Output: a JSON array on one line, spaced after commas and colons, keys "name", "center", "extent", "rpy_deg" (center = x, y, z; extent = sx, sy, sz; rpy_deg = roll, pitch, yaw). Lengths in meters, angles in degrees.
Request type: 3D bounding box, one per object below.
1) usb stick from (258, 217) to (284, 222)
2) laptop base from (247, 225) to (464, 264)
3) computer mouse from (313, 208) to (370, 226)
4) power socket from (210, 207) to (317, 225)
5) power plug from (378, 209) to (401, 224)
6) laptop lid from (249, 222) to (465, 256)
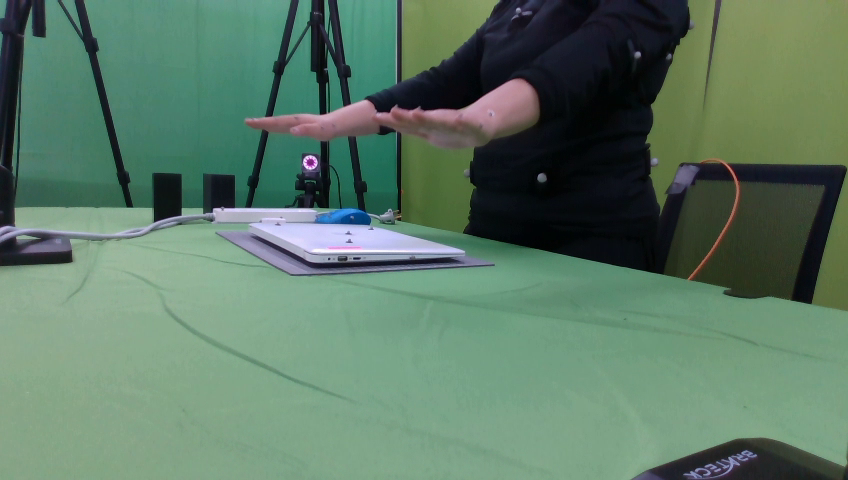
[{"name": "usb stick", "center": [-0.291, -0.028, 1.118], "extent": [0.059, 0.027, 0.021], "rpy_deg": [-3, 12, -29]}, {"name": "laptop base", "center": [-0.125, 0.006, 0.955], "extent": [0.237, 0.023, 0.352], "rpy_deg": [2, 6, -30]}, {"name": "computer mouse", "center": [-0.175, -0.047, 1.292], "extent": [0.118, 0.041, 0.062], "rpy_deg": [-7, 14, -34]}, {"name": "power socket", "center": [-0.335, -0.051, 1.281], "extent": [0.228, 0.032, 0.072], "rpy_deg": [-2, 9, -29]}, {"name": "power plug", "center": [-0.082, -0.060, 1.421], "extent": [0.053, 0.035, 0.072], "rpy_deg": [-14, 20, -6]}, {"name": "laptop lid", "center": [-0.122, -0.005, 0.955], "extent": [0.243, 0.013, 0.355], "rpy_deg": [1, 7, -28]}]
